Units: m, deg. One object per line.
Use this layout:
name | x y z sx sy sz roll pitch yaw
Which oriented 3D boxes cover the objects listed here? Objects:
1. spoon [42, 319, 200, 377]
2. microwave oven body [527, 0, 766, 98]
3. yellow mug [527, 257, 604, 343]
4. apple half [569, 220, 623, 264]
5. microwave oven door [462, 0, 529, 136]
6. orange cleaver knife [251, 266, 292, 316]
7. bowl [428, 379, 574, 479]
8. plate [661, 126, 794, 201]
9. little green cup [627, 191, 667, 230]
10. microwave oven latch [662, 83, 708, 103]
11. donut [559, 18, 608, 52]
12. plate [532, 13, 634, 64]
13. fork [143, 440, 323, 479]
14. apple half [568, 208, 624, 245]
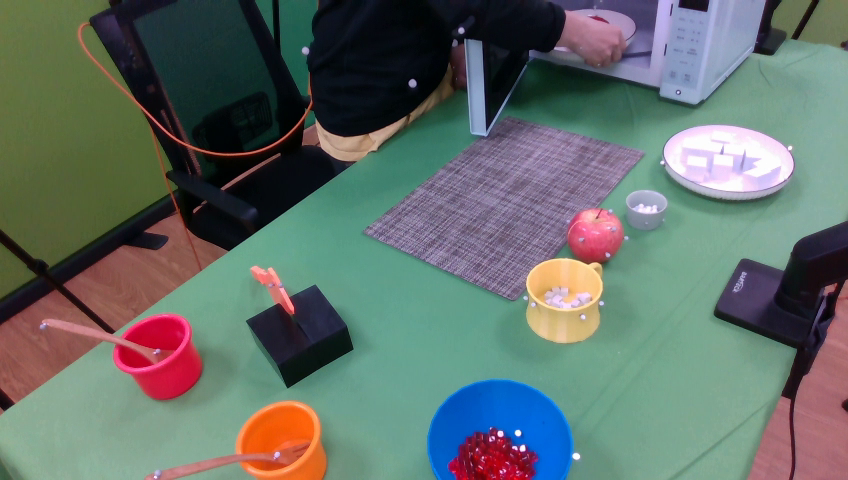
spoon | -0.385 0.135 0.779 0.195 0.021 0.041 29 37 -27
microwave oven body | 0.472 -0.513 1.317 0.438 0.261 0.327 25 51 34
yellow mug | 0.201 0.072 0.825 0.131 0.064 0.099 -32 46 -27
apple half | 0.251 0.010 0.884 0.081 0.081 0.032 3 37 13
microwave oven door | 0.155 -0.410 1.236 0.039 0.245 0.355 10 43 19
orange cleaver knife | -0.221 0.071 0.873 0.012 0.077 0.210 -25 11 -21
bowl | 0.082 0.233 0.644 0.151 0.077 0.150 -4 40 4
plate | 0.513 -0.128 1.035 0.207 0.039 0.206 -4 40 4
little green cup | 0.352 -0.046 0.963 0.061 0.039 0.061 -4 40 3
microwave oven latch | 0.518 -0.296 1.204 0.078 0.029 0.030 28 52 36
donut | 0.332 -0.430 1.262 0.099 0.048 0.098 -5 41 5
plate | 0.333 -0.421 1.274 0.209 0.038 0.208 -5 40 5
fork | -0.190 0.231 0.631 0.028 0.018 0.209 38 14 37
apple half | 0.259 -0.014 0.914 0.080 0.075 0.053 0 36 15
